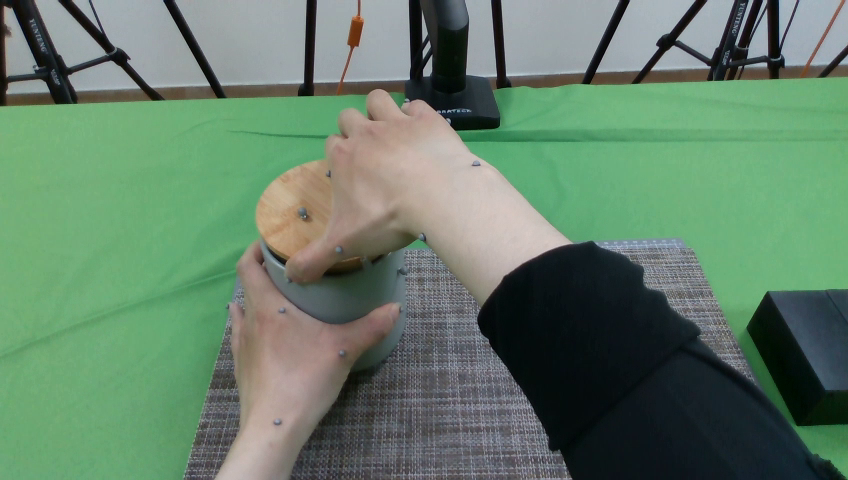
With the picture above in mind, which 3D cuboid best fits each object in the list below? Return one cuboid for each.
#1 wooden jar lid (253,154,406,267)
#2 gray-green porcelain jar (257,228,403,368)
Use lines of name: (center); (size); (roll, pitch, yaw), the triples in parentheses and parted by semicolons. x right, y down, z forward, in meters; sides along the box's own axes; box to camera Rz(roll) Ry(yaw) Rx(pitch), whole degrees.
wooden jar lid: (-0.067, -0.021, 0.438); (0.108, 0.021, 0.107); (2, 48, -2)
gray-green porcelain jar: (-0.070, 0.033, 0.491); (0.106, 0.127, 0.105); (0, 43, 0)
